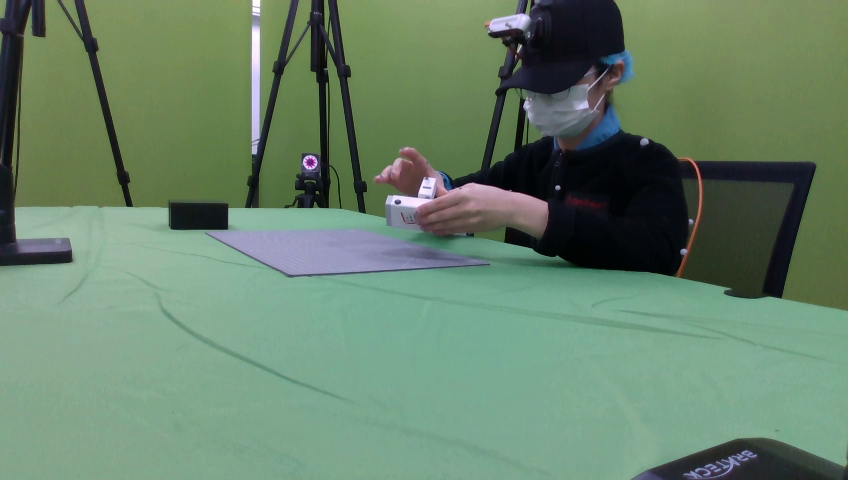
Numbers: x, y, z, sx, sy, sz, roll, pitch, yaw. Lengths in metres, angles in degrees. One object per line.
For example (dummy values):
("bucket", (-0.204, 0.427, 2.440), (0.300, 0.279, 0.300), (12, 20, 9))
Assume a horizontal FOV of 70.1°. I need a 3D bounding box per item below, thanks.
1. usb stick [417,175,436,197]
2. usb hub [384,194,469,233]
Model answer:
("usb stick", (0.002, -0.072, 0.922), (0.021, 0.027, 0.059), (9, 47, 8))
("usb hub", (0.004, -0.041, 0.911), (0.125, 0.049, 0.025), (5, 45, 6))
